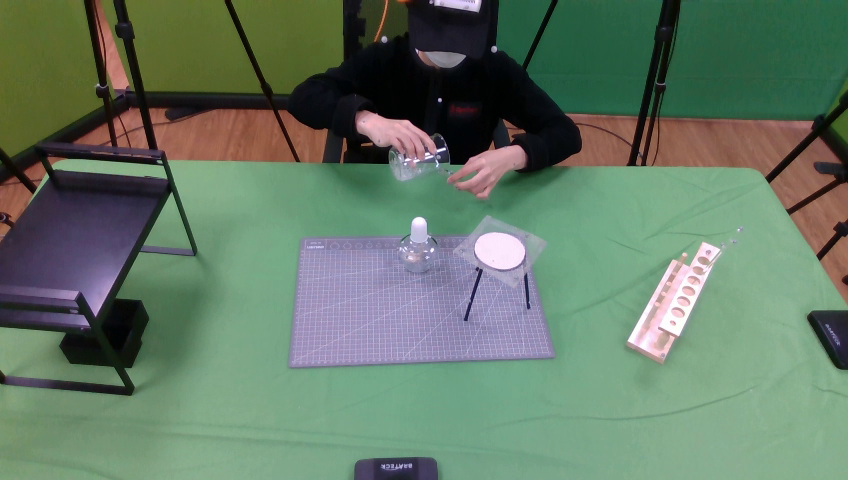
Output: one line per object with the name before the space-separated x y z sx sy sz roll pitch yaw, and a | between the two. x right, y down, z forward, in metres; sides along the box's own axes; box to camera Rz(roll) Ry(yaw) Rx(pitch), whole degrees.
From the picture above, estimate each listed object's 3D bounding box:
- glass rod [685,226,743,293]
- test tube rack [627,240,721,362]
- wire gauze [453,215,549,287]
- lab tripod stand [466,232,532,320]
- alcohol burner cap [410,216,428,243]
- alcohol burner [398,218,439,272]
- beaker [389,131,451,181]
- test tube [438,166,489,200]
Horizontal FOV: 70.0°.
glass rod | 0.500 0.040 1.054 0.008 0.200 0.008 4 53 -5
test tube rack | 0.452 0.098 1.087 0.066 0.085 0.242 28 51 22
wire gauze | 0.129 0.012 1.017 0.124 0.011 0.121 28 50 23
lab tripod stand | 0.125 0.059 1.065 0.148 0.132 0.147 1 45 0
alcohol burner cap | -0.009 -0.022 1.099 0.034 0.048 0.033 2 41 -1
alcohol burner | -0.010 0.004 1.123 0.078 0.120 0.077 1 47 0
beaker | -0.010 -0.155 1.150 0.100 0.084 0.073 -18 38 -18
test tube | 0.083 -0.114 1.236 0.151 0.017 0.017 26 30 -41
